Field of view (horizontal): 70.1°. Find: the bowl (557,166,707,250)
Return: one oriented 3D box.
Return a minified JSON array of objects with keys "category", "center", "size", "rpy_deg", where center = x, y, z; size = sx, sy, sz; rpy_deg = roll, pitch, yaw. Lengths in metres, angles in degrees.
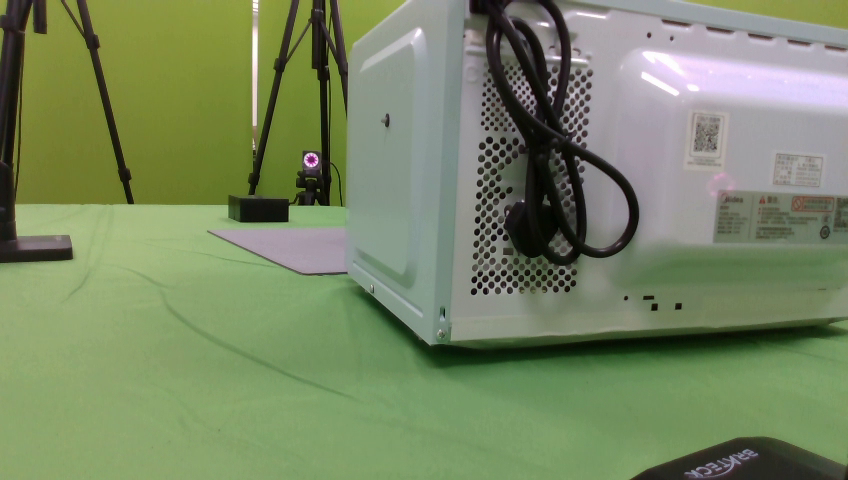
[{"category":"bowl","center":[0.214,-0.035,0.640],"size":[0.151,0.077,0.151],"rpy_deg":[2,11,0]}]

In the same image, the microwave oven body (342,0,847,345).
[{"category":"microwave oven body","center":[0.169,-0.060,0.573],"size":[0.444,0.260,0.324],"rpy_deg":[1,7,-20]}]

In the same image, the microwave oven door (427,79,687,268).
[{"category":"microwave oven door","center":[0.173,-0.101,0.859],"size":[0.354,0.243,0.039],"rpy_deg":[6,9,27]}]

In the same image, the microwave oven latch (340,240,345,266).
[{"category":"microwave oven latch","center":[-0.052,0.016,0.662],"size":[0.079,0.029,0.030],"rpy_deg":[1,7,-19]}]
